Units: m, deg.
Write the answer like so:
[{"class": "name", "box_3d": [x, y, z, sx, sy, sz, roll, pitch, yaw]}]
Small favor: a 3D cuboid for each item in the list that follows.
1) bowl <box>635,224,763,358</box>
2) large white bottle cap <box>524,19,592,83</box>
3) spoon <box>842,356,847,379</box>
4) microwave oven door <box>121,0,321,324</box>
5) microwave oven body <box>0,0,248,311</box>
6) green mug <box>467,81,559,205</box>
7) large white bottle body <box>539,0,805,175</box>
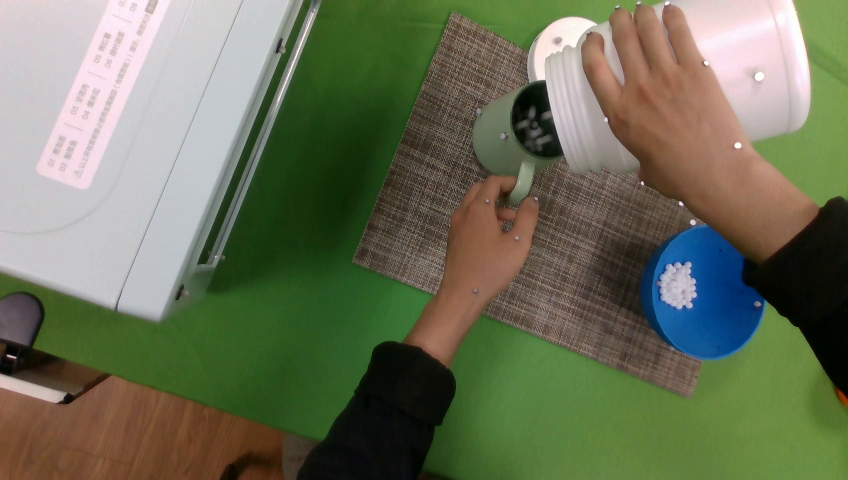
[{"class": "bowl", "box_3d": [0.303, 0.058, 0.706, 0.152, 0.076, 0.151, 1, 88, -15]}, {"class": "large white bottle cap", "box_3d": [0.172, -0.199, 0.707, 0.115, 0.018, 0.114, 1, 88, -16]}, {"class": "spoon", "box_3d": [0.618, 0.217, 0.757, 0.041, 0.191, 0.022, -30, 140, -19]}, {"class": "microwave oven door", "box_3d": [-0.142, -0.114, 0.489, 0.039, 0.243, 0.355, 21, 83, -13]}, {"class": "microwave oven body", "box_3d": [-0.262, -0.205, 0.463, 0.327, 0.259, 0.440, 21, 84, -14]}, {"class": "green mug", "box_3d": [0.098, -0.099, 0.639, 0.093, 0.104, 0.125, 14, 85, -15]}, {"class": "large white bottle body", "box_3d": [0.201, -0.130, 0.513, 0.184, 0.131, 0.130, -13, 92, 22]}]
